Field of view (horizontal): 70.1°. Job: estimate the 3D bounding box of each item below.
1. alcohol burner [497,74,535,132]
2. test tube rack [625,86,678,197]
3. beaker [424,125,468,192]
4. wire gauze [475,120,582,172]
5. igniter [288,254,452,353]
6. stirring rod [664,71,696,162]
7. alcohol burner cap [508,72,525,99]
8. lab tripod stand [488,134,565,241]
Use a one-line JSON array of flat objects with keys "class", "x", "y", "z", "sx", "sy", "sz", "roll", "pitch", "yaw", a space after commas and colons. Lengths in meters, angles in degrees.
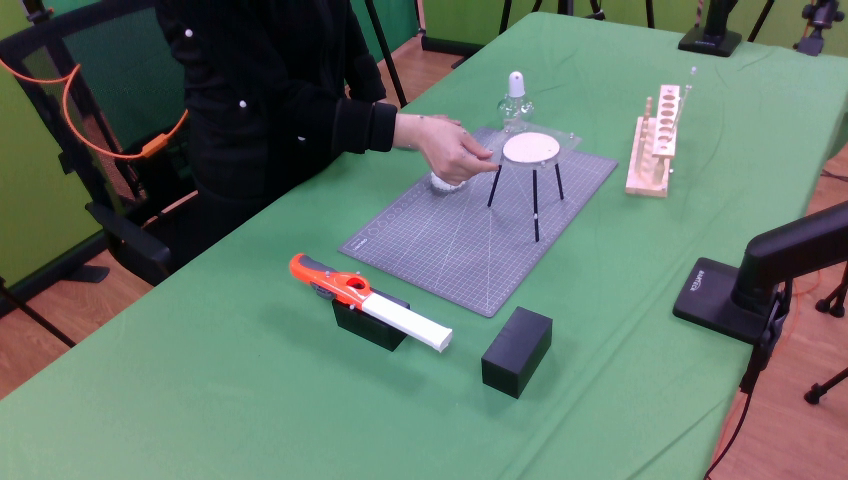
[{"class": "alcohol burner", "x": 0.184, "y": -0.278, "z": 1.210, "sx": 0.078, "sy": 0.119, "sz": 0.077, "roll": -3, "pitch": 42, "yaw": 3}, {"class": "test tube rack", "x": 0.412, "y": -0.184, "z": 1.088, "sx": 0.066, "sy": 0.085, "sz": 0.242, "roll": 9, "pitch": 43, "yaw": 18}, {"class": "beaker", "x": 0.043, "y": -0.144, "z": 1.078, "sx": 0.073, "sy": 0.100, "sz": 0.084, "roll": 28, "pitch": 51, "yaw": 34}, {"class": "wire gauze", "x": 0.161, "y": -0.143, "z": 0.928, "sx": 0.120, "sy": 0.011, "sz": 0.125, "roll": 20, "pitch": 47, "yaw": 30}, {"class": "igniter", "x": -0.083, "y": 0.080, "z": 0.818, "sx": 0.274, "sy": 0.025, "sz": 0.057, "roll": 23, "pitch": 46, "yaw": 27}, {"class": "stirring rod", "x": 0.411, "y": -0.196, "z": 0.981, "sx": 0.014, "sy": 0.177, "sz": 0.006, "roll": 11, "pitch": 50, "yaw": 13}, {"class": "alcohol burner cap", "x": 0.181, "y": -0.306, "z": 1.186, "sx": 0.034, "sy": 0.048, "sz": 0.033, "roll": -7, "pitch": 39, "yaw": 6}, {"class": "lab tripod stand", "x": 0.169, "y": -0.092, "z": 0.972, "sx": 0.148, "sy": 0.132, "sz": 0.147, "roll": -5, "pitch": 41, "yaw": 5}]
